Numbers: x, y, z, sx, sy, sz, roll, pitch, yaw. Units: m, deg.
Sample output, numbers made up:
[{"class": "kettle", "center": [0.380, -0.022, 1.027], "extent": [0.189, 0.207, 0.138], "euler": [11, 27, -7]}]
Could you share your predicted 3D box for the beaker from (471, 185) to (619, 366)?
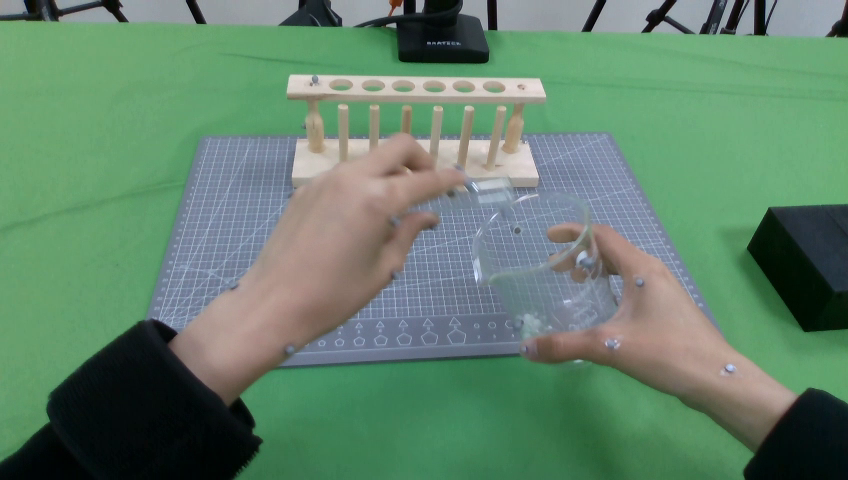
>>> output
[{"class": "beaker", "center": [0.080, 0.029, 0.393], "extent": [0.084, 0.101, 0.073], "euler": [-40, 36, -15]}]

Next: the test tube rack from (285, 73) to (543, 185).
[{"class": "test tube rack", "center": [-0.009, -0.107, 0.592], "extent": [0.243, 0.086, 0.066], "euler": [-1, 44, -5]}]

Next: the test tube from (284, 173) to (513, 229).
[{"class": "test tube", "center": [-0.021, -0.022, 0.365], "extent": [0.150, 0.017, 0.017], "euler": [-7, 40, 22]}]
